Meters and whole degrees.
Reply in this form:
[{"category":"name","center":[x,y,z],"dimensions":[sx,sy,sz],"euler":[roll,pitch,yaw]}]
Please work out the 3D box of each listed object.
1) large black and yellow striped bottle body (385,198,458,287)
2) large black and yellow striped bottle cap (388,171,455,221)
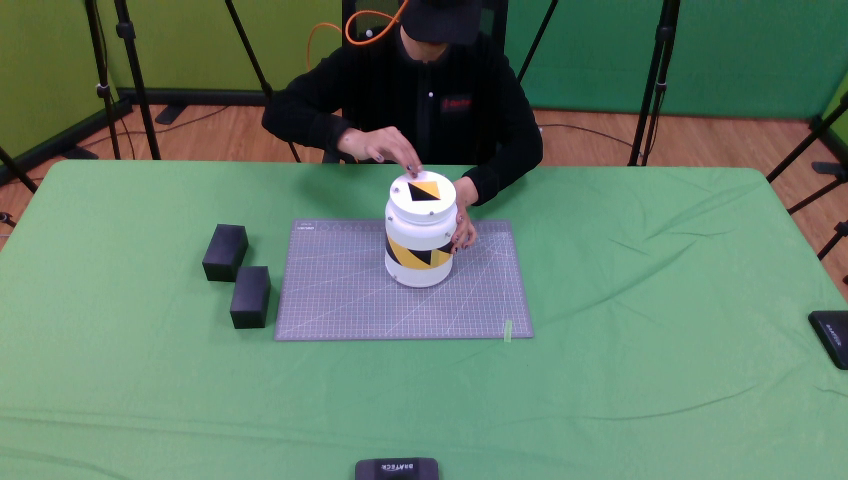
[{"category":"large black and yellow striped bottle body","center":[-0.007,-0.018,1.097],"dimensions":[0.131,0.185,0.130],"euler":[2,46,-2]},{"category":"large black and yellow striped bottle cap","center":[-0.003,-0.077,1.036],"dimensions":[0.115,0.019,0.114],"euler":[3,45,-3]}]
